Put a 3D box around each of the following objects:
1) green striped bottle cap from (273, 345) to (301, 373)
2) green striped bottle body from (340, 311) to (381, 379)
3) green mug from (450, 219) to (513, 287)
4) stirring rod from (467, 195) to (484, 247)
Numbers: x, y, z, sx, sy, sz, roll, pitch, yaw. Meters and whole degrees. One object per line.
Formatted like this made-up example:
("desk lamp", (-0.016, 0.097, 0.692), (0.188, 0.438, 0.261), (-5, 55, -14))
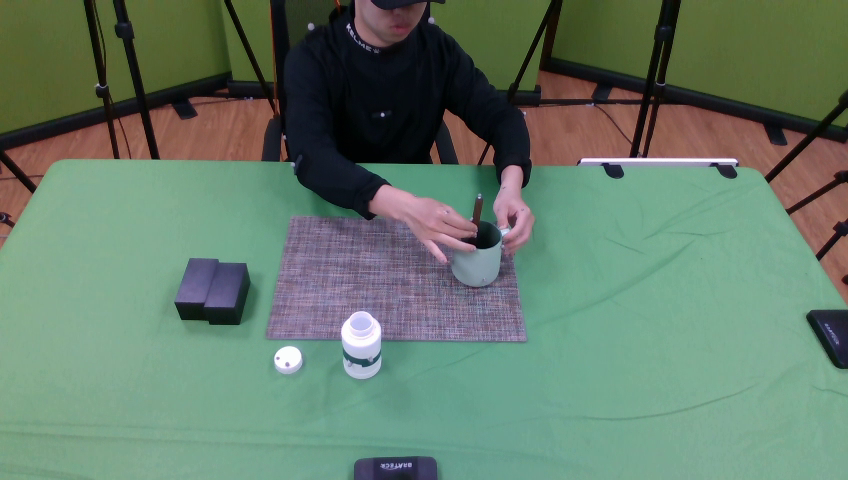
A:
("green striped bottle cap", (-0.225, 0.195, 0.997), (0.044, 0.020, 0.044), (2, 50, -3))
("green striped bottle body", (-0.101, 0.164, 0.964), (0.063, 0.120, 0.063), (2, 46, -2))
("green mug", (0.111, 0.019, 1.125), (0.125, 0.105, 0.092), (-22, 52, -23))
("stirring rod", (0.088, -0.011, 1.092), (0.014, 0.177, 0.006), (-2, 44, -9))
